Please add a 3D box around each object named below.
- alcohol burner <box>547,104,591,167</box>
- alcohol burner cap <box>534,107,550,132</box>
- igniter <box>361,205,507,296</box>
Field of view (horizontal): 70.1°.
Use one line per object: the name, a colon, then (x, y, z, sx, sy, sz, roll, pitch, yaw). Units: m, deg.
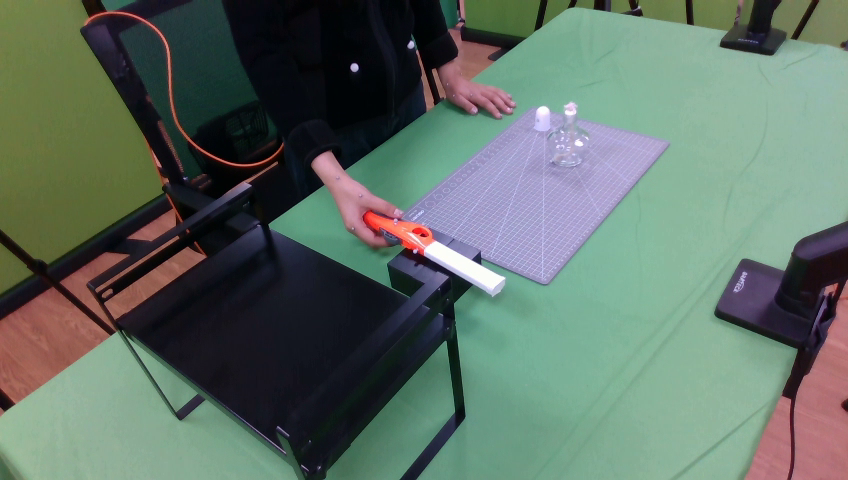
alcohol burner: (0.261, -0.192, 1.087, 0.078, 0.119, 0.077, -5, 42, 5)
alcohol burner cap: (0.236, -0.243, 1.206, 0.034, 0.048, 0.033, -4, 40, 4)
igniter: (0.003, 0.008, 0.889, 0.274, 0.025, 0.057, 29, 47, 33)
